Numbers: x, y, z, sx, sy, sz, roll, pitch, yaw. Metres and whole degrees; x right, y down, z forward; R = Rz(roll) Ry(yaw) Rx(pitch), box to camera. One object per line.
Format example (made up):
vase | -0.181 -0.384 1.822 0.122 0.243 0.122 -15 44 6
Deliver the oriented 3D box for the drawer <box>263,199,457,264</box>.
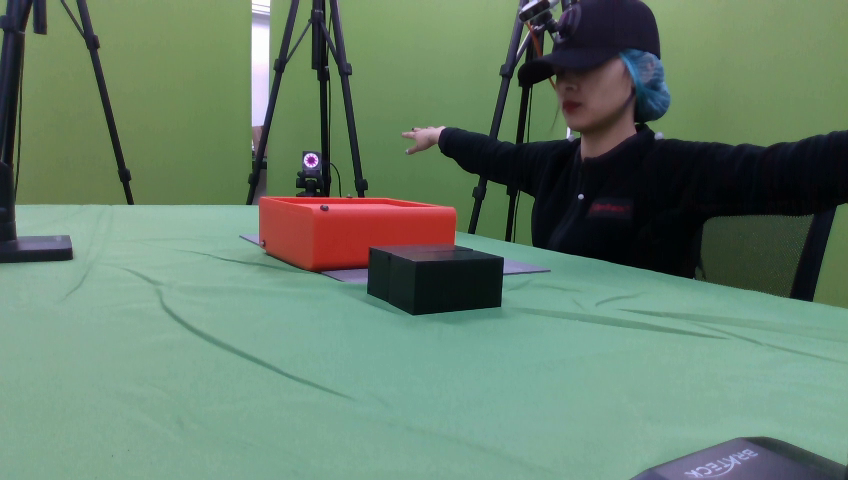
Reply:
drawer | -0.093 -0.017 0.846 0.213 0.073 0.193 -3 10 -33

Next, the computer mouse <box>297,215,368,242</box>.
computer mouse | -0.156 -0.021 1.032 0.118 0.041 0.062 -9 15 -39

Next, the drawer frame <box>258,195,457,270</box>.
drawer frame | -0.095 -0.018 0.845 0.215 0.082 0.200 -3 10 -34
